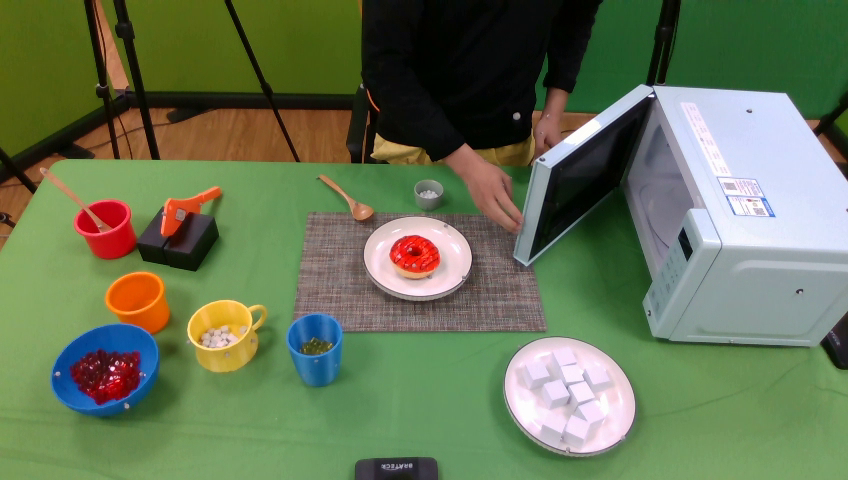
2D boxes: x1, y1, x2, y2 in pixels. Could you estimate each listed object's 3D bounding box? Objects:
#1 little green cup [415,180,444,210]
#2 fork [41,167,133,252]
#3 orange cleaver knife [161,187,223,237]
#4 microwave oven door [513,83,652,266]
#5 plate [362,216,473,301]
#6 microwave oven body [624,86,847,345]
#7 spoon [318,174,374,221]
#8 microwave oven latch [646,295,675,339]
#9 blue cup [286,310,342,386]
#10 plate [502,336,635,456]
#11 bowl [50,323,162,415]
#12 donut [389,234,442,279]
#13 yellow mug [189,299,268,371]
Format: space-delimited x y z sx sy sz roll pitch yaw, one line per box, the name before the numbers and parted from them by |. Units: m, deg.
little green cup | 0.010 -0.094 1.278 0.061 0.039 0.061 2 48 -2
fork | -0.624 -0.055 1.121 0.208 0.018 0.028 50 51 -15
orange cleaver knife | -0.448 -0.058 1.181 0.012 0.077 0.211 13 17 6
microwave oven door | 0.311 -0.131 1.168 0.039 0.245 0.355 36 54 27
plate | -0.012 0.038 1.144 0.209 0.038 0.208 2 45 -2
microwave oven body | 0.568 -0.053 1.118 0.326 0.261 0.439 2 45 -1
spoon | -0.168 -0.094 1.274 0.041 0.022 0.192 -38 57 -15
microwave oven latch | 0.412 0.134 1.061 0.030 0.029 0.078 4 45 1
blue cup | -0.170 0.180 0.958 0.093 0.101 0.092 2 44 -1
plate | 0.225 0.248 0.963 0.208 0.039 0.206 2 46 -2
bowl | -0.472 0.209 0.924 0.151 0.077 0.150 2 45 -2
donut | -0.016 0.031 1.135 0.099 0.048 0.098 4 44 -4
yellow mug | -0.316 0.148 1.002 0.131 0.064 0.099 -32 56 -31
